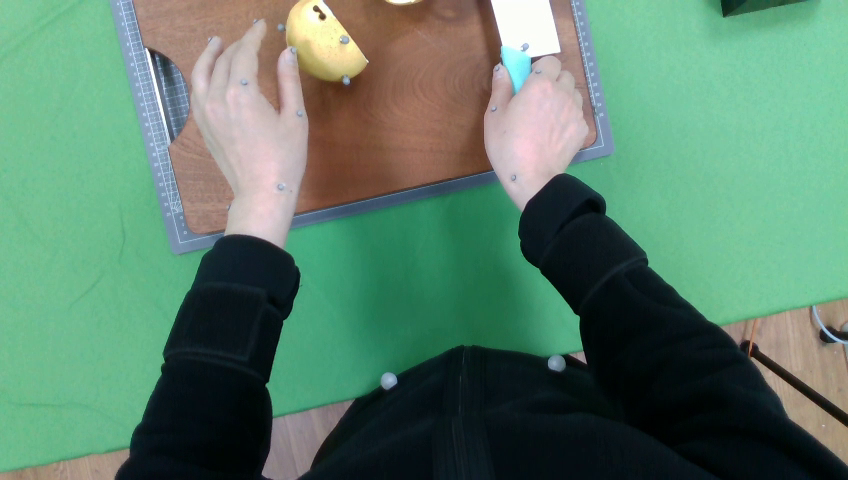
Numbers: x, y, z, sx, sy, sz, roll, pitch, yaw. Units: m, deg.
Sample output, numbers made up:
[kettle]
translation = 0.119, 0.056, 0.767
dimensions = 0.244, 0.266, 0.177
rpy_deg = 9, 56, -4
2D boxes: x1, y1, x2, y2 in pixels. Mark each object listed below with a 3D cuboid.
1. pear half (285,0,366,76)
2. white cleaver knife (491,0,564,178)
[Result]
[pear half]
translation = -0.091, -0.175, 0.515
dimensions = 0.056, 0.110, 0.076
rpy_deg = -43, 88, 2
[white cleaver knife]
translation = 0.093, -0.196, 0.551
dimensions = 0.066, 0.021, 0.286
rpy_deg = -14, 91, -12
